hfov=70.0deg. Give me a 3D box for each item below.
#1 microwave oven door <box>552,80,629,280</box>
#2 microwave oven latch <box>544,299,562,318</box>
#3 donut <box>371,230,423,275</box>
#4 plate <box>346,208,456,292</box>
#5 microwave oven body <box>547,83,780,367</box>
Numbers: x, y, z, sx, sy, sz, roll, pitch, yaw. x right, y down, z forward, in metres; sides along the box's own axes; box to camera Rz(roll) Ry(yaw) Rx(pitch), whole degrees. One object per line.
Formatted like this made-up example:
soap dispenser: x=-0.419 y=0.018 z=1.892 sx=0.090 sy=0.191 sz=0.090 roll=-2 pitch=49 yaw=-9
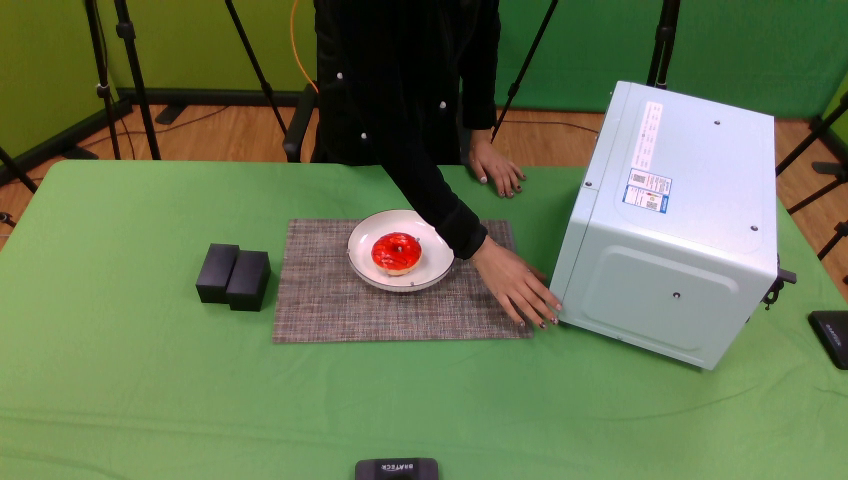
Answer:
microwave oven door: x=0.324 y=-0.116 z=1.156 sx=0.039 sy=0.245 sz=0.354 roll=18 pitch=48 yaw=13
microwave oven latch: x=0.239 y=0.101 z=1.084 sx=0.030 sy=0.029 sz=0.079 roll=24 pitch=49 yaw=19
donut: x=-0.051 y=0.022 z=1.142 sx=0.099 sy=0.048 sz=0.098 roll=0 pitch=45 yaw=0
plate: x=-0.044 y=0.021 z=1.159 sx=0.209 sy=0.038 sz=0.208 roll=2 pitch=47 yaw=-2
microwave oven body: x=0.444 y=-0.041 z=1.100 sx=0.325 sy=0.261 sz=0.440 roll=17 pitch=47 yaw=13
